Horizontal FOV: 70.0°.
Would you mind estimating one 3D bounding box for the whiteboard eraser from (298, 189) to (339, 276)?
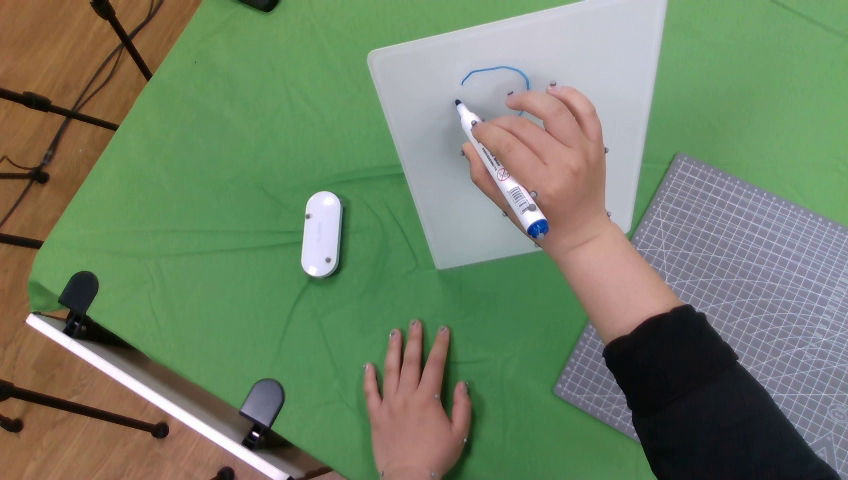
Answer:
[{"bbox_3d":[-0.121,-0.009,0.695,0.041,0.019,0.101,1,77,6],"label":"whiteboard eraser"}]

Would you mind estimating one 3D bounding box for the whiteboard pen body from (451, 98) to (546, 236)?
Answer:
[{"bbox_3d":[0.049,-0.059,0.439,0.017,0.017,0.139,-28,58,1],"label":"whiteboard pen body"}]

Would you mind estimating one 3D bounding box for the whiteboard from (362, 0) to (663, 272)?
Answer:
[{"bbox_3d":[0.082,-0.126,0.583,0.217,0.308,0.142,-11,55,6],"label":"whiteboard"}]
